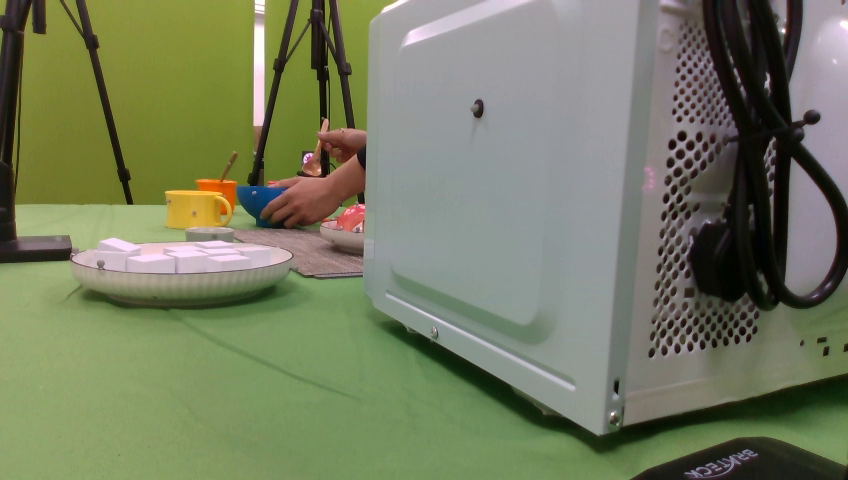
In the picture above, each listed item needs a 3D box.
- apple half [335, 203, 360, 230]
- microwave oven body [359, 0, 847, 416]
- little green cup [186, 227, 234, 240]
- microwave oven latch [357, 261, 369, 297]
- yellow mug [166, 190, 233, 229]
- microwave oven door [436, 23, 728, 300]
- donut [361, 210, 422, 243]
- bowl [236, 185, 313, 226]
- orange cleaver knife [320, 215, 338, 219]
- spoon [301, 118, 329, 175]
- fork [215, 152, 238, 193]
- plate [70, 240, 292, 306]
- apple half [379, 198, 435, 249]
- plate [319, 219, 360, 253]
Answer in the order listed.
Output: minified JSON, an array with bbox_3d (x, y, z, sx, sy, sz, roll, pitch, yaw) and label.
[{"bbox_3d":[-0.116,-0.038,0.960,0.081,0.033,0.081,-37,8,7],"label":"apple half"},{"bbox_3d":[0.211,-0.047,0.474,0.444,0.260,0.324,-1,7,-28],"label":"microwave oven body"},{"bbox_3d":[-0.285,0.005,0.805,0.061,0.038,0.061,2,8,0],"label":"little green cup"},{"bbox_3d":[-0.019,0.033,0.530,0.079,0.029,0.030,-1,7,-27],"label":"microwave oven latch"},{"bbox_3d":[-0.415,-0.057,1.131,0.130,0.064,0.100,6,8,16],"label":"yellow mug"},{"bbox_3d":[0.180,-0.073,0.621,0.358,0.243,0.039,-2,9,-29],"label":"microwave oven door"},{"bbox_3d":[-0.051,-0.020,0.959,0.099,0.048,0.099,7,7,-1],"label":"donut"},{"bbox_3d":[-0.299,-0.069,1.210,0.151,0.077,0.151,3,5,0],"label":"bowl"},{"bbox_3d":[-0.142,-0.057,1.395,0.077,0.012,0.212,3,7,44],"label":"orange cleaver knife"},{"bbox_3d":[-0.234,-0.210,1.345,0.042,0.193,0.021,17,-38,-10],"label":"spoon"},{"bbox_3d":[-0.455,-0.132,1.367,0.028,0.018,0.207,-3,-35,-38],"label":"fork"},{"bbox_3d":[-0.242,0.032,0.618,0.208,0.039,0.207,3,8,0],"label":"plate"},{"bbox_3d":[-0.020,-0.030,0.891,0.081,0.053,0.074,-2,49,-26],"label":"apple half"},{"bbox_3d":[-0.058,-0.007,0.939,0.209,0.038,0.209,3,8,0],"label":"plate"}]
